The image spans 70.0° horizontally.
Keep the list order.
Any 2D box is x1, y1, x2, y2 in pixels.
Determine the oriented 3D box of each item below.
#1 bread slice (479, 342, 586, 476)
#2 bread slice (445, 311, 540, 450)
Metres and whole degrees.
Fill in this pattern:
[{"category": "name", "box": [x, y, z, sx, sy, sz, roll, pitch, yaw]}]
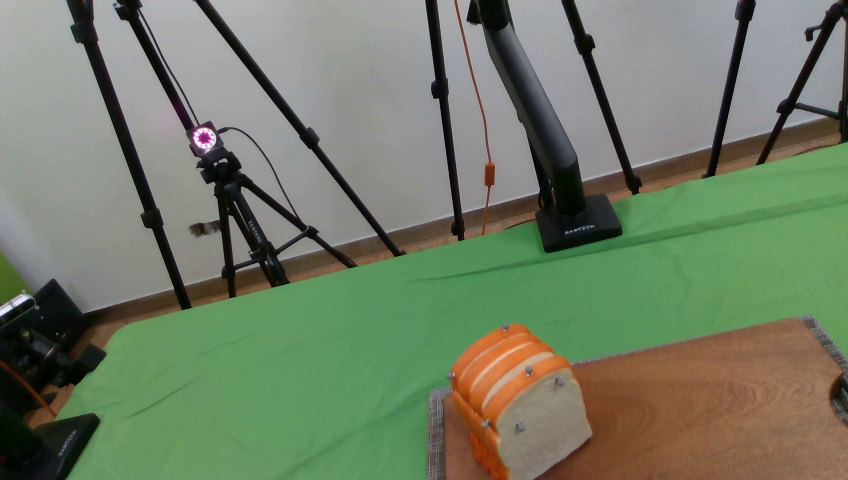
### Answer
[{"category": "bread slice", "box": [0.100, 0.156, 0.561, 0.105, 0.133, 0.019, -32, 39, -14]}, {"category": "bread slice", "box": [0.078, 0.136, 0.602, 0.107, 0.135, 0.018, -28, 30, -16]}]
